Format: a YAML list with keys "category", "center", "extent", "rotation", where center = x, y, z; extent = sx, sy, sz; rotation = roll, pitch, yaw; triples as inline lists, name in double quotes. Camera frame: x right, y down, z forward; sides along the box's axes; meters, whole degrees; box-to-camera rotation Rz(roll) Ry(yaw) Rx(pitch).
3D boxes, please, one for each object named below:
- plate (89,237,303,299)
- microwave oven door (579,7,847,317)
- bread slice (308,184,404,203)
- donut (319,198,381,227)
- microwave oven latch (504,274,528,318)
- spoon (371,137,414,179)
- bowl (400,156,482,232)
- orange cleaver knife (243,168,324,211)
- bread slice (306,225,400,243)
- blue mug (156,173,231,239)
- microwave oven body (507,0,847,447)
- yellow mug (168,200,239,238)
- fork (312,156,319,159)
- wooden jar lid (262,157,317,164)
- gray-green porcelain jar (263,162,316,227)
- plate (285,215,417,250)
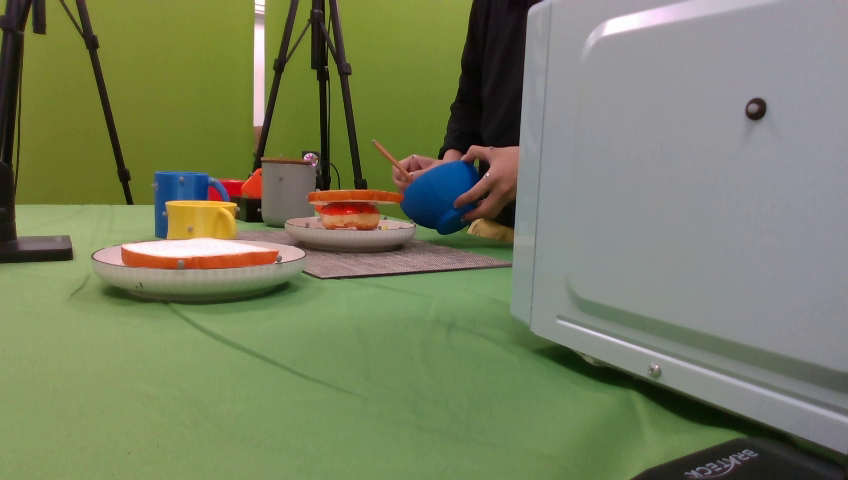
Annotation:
- category: "plate"
  center: [-0.233, 0.029, 0.637]
  extent: [0.208, 0.039, 0.207]
  rotation: [2, 7, 0]
- category: "microwave oven door"
  center: [0.295, -0.067, 0.570]
  extent: [0.358, 0.243, 0.039]
  rotation: [-3, 9, -31]
- category: "bread slice"
  center: [-0.114, -0.072, 0.953]
  extent: [0.134, 0.018, 0.107]
  rotation: [-3, -1, 21]
- category: "donut"
  center: [-0.118, -0.042, 0.965]
  extent: [0.099, 0.048, 0.099]
  rotation: [-9, -7, -1]
- category: "microwave oven latch"
  center: [0.100, 0.041, 0.471]
  extent: [0.079, 0.029, 0.030]
  rotation: [-1, 7, -28]
- category: "spoon"
  center: [-0.025, -0.109, 1.064]
  extent: [0.021, 0.194, 0.041]
  rotation: [-38, 5, 20]
- category: "bowl"
  center: [0.042, -0.067, 1.040]
  extent: [0.152, 0.076, 0.151]
  rotation: [-23, -23, -10]
- category: "orange cleaver knife"
  center: [-0.300, -0.089, 1.351]
  extent: [0.212, 0.077, 0.012]
  rotation: [28, -9, -34]
- category: "bread slice"
  center: [-0.103, -0.010, 0.961]
  extent: [0.131, 0.019, 0.105]
  rotation: [3, 8, 24]
- category: "blue mug"
  center: [-0.381, -0.057, 1.004]
  extent: [0.117, 0.106, 0.082]
  rotation: [0, 8, -12]
- category: "microwave oven body"
  center: [0.331, -0.042, 0.425]
  extent: [0.444, 0.260, 0.324]
  rotation: [-2, 8, -31]
- category: "yellow mug"
  center: [-0.320, -0.023, 0.904]
  extent: [0.130, 0.064, 0.100]
  rotation: [9, 10, 36]
- category: "fork"
  center: [-0.331, -0.144, 1.506]
  extent: [0.207, 0.018, 0.028]
  rotation: [-42, -20, 22]
- category: "wooden jar lid"
  center: [-0.269, -0.154, 1.208]
  extent: [0.108, 0.020, 0.108]
  rotation: [3, 4, 0]
- category: "gray-green porcelain jar"
  center: [-0.271, -0.092, 1.217]
  extent: [0.106, 0.126, 0.106]
  rotation: [2, 7, 0]
- category: "plate"
  center: [-0.116, -0.014, 0.964]
  extent: [0.209, 0.038, 0.209]
  rotation: [2, 7, 0]
